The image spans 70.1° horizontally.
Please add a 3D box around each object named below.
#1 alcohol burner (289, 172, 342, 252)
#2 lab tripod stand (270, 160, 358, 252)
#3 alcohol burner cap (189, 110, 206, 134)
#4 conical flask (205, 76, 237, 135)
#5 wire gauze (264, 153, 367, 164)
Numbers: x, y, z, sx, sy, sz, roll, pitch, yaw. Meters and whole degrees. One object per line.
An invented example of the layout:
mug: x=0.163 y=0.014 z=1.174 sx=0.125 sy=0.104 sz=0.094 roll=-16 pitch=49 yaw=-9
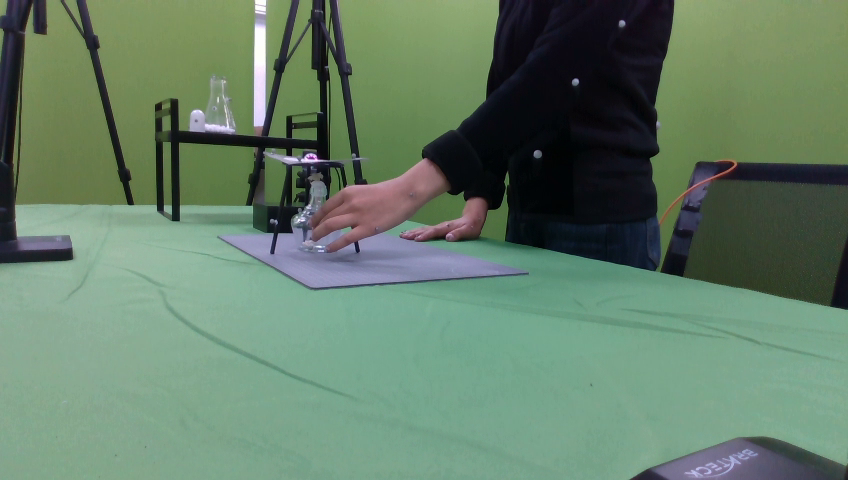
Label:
alcohol burner: x=-0.160 y=-0.042 z=0.899 sx=0.078 sy=0.119 sz=0.078 roll=5 pitch=8 yaw=0
lab tripod stand: x=-0.167 y=-0.051 z=0.892 sx=0.148 sy=0.131 sz=0.148 roll=4 pitch=9 yaw=0
alcohol burner cap: x=-0.464 y=-0.242 z=1.240 sx=0.034 sy=0.048 sz=0.034 roll=5 pitch=7 yaw=0
conical flask: x=-0.443 y=-0.290 z=1.309 sx=0.075 sy=0.122 sz=0.075 roll=3 pitch=7 yaw=0
wire gauze: x=-0.160 y=-0.118 z=0.888 sx=0.122 sy=0.011 sz=0.124 roll=-3 pitch=10 yaw=-32
